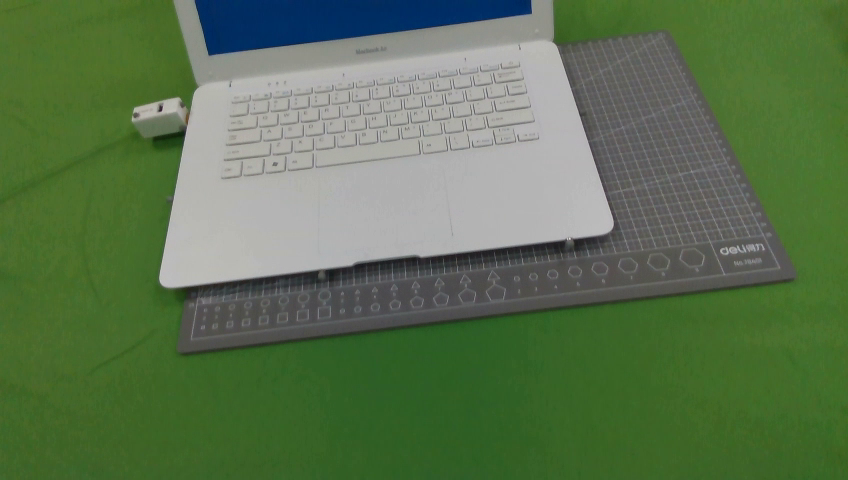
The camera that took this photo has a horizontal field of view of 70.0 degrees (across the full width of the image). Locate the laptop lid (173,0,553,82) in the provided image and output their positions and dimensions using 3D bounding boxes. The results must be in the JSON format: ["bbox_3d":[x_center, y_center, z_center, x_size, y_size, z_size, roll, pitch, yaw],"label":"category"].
[{"bbox_3d":[-0.063,-0.276,0.545,0.357,0.243,0.013,-8,25,2],"label":"laptop lid"}]

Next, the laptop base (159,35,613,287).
[{"bbox_3d":[-0.039,-0.077,0.528,0.354,0.023,0.233,-7,58,1],"label":"laptop base"}]

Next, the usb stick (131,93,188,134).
[{"bbox_3d":[-0.238,-0.119,0.564,0.059,0.027,0.021,-9,54,1],"label":"usb stick"}]
